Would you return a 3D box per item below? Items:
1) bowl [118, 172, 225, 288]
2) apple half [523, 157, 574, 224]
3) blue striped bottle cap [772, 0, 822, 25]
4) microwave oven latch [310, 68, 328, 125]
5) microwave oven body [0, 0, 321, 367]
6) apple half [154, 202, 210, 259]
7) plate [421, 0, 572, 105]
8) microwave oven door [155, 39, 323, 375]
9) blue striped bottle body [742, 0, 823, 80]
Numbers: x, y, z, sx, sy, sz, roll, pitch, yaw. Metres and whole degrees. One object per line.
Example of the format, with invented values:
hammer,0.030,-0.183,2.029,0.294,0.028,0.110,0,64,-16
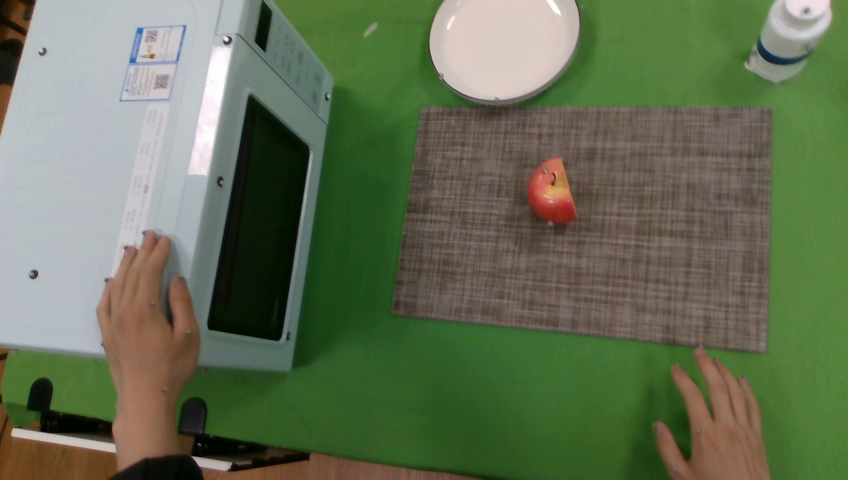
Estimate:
bowl,-0.322,-0.010,0.810,0.151,0.077,0.151,-2,85,21
apple half,0.150,-0.056,0.751,0.053,0.075,0.080,-17,76,15
blue striped bottle cap,0.403,-0.255,0.655,0.044,0.021,0.044,-3,78,15
microwave oven latch,-0.158,-0.208,0.875,0.030,0.030,0.079,2,78,15
microwave oven body,-0.343,-0.064,0.787,0.325,0.262,0.439,2,78,15
apple half,-0.324,-0.012,0.800,0.081,0.033,0.081,0,89,9
plate,0.100,-0.279,0.843,0.207,0.039,0.206,-3,76,14
microwave oven door,-0.207,-0.020,0.734,0.039,0.245,0.354,2,77,16
blue striped bottle body,0.416,-0.242,0.702,0.063,0.122,0.062,-4,75,15
